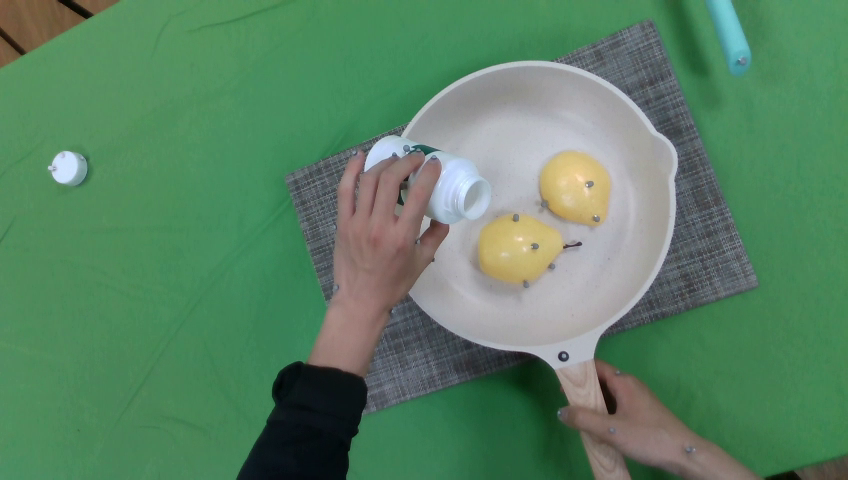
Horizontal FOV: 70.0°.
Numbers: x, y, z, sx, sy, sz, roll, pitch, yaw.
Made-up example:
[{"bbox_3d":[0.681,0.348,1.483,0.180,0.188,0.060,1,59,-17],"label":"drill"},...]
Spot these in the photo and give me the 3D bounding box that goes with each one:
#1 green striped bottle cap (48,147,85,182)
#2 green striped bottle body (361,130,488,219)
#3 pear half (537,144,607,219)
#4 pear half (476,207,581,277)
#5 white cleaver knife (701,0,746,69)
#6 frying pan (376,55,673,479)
[{"bbox_3d":[-0.470,-0.099,0.796,0.044,0.020,0.044,0,89,14],"label":"green striped bottle cap"},{"bbox_3d":[0.002,-0.059,0.561,0.118,0.064,0.063,25,95,38],"label":"green striped bottle body"},{"bbox_3d":[0.157,-0.061,0.639,0.070,0.031,0.087,-37,78,15],"label":"pear half"},{"bbox_3d":[0.109,0.001,0.638,0.109,0.056,0.076,-8,92,10],"label":"pear half"},{"bbox_3d":[0.263,-0.304,0.607,0.021,0.066,0.285,-18,83,17],"label":"white cleaver knife"},{"bbox_3d":[0.126,0.058,0.609,0.306,0.103,0.485,-19,76,13],"label":"frying pan"}]
